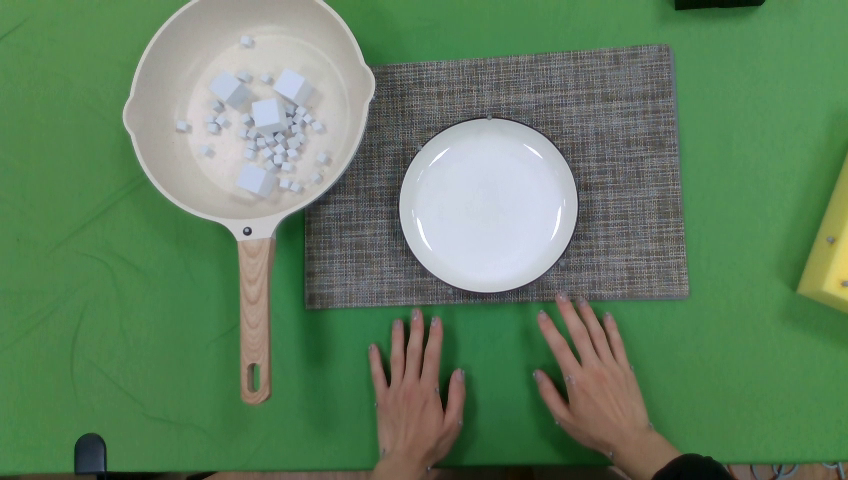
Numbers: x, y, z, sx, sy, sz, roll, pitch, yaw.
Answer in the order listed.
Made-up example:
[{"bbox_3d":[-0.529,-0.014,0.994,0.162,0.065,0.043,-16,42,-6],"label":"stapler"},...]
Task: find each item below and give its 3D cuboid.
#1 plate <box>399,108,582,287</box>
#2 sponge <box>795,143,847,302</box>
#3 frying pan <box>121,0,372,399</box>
[{"bbox_3d":[0.076,-0.048,0.708,0.207,0.039,0.207,-1,84,6],"label":"plate"},{"bbox_3d":[0.506,-0.028,0.653,0.118,0.061,0.206,21,87,8],"label":"sponge"},{"bbox_3d":[-0.199,-0.064,0.706,0.306,0.103,0.485,-6,75,8],"label":"frying pan"}]
